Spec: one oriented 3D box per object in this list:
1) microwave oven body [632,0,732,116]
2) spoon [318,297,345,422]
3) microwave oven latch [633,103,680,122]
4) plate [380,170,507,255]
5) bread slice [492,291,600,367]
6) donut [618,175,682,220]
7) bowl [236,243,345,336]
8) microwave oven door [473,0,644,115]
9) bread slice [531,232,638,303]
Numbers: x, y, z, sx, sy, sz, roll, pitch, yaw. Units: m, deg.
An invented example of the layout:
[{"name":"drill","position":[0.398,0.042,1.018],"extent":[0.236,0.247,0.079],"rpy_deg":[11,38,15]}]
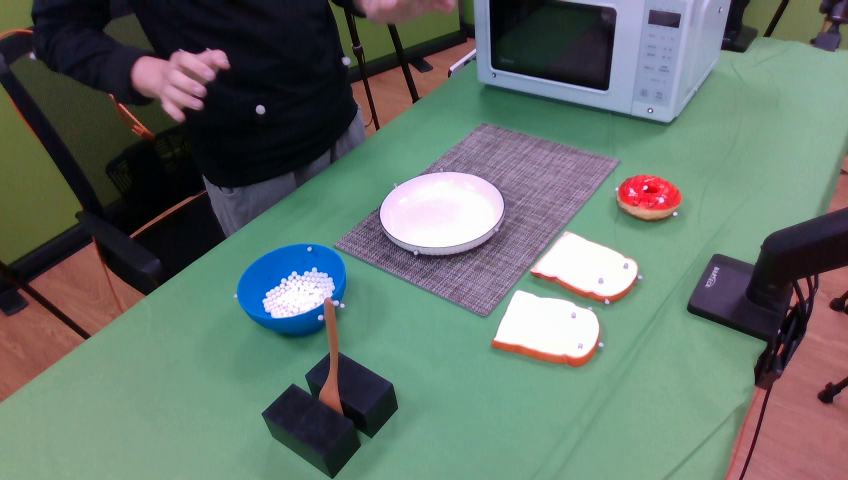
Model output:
[{"name":"microwave oven body","position":[0.377,-0.462,1.267],"extent":[0.438,0.261,0.327],"rpy_deg":[21,48,30]},{"name":"spoon","position":[-0.106,0.139,0.688],"extent":[0.041,0.194,0.022],"rpy_deg":[27,37,31]},{"name":"microwave oven latch","position":[0.444,-0.249,1.157],"extent":[0.078,0.029,0.030],"rpy_deg":[21,48,30]},{"name":"plate","position":[0.033,-0.042,0.995],"extent":[0.207,0.039,0.206],"rpy_deg":[-4,40,4]},{"name":"bread slice","position":[0.169,0.118,0.811],"extent":[0.131,0.019,0.105],"rpy_deg":[11,44,21]},{"name":"donut","position":[0.366,-0.070,0.981],"extent":[0.099,0.048,0.098],"rpy_deg":[-3,39,3]},{"name":"bowl","position":[-0.180,0.082,0.855],"extent":[0.151,0.077,0.150],"rpy_deg":[-4,41,4]},{"name":"microwave oven door","position":[0.257,-0.396,1.199],"extent":[0.353,0.245,0.039],"rpy_deg":[21,48,29]},{"name":"bread slice","position":[0.242,0.042,0.888],"extent":[0.133,0.018,0.107],"rpy_deg":[22,48,31]}]
